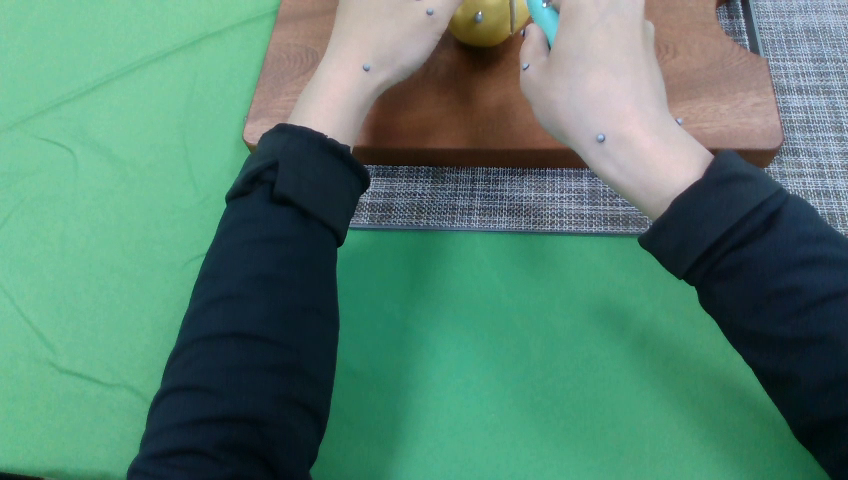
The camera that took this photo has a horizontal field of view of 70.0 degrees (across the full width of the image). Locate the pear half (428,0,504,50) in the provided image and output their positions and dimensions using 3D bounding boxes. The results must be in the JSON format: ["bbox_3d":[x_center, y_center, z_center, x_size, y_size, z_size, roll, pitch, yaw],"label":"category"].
[{"bbox_3d":[0.029,-0.197,0.455,0.056,0.111,0.075,-17,56,-2],"label":"pear half"}]

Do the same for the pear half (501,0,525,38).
[{"bbox_3d":[0.068,-0.201,0.466,0.031,0.089,0.069,-16,59,-7],"label":"pear half"}]

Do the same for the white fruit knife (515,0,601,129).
[{"bbox_3d":[0.070,-0.161,0.412,0.016,0.027,0.205,-19,64,-5],"label":"white fruit knife"}]
